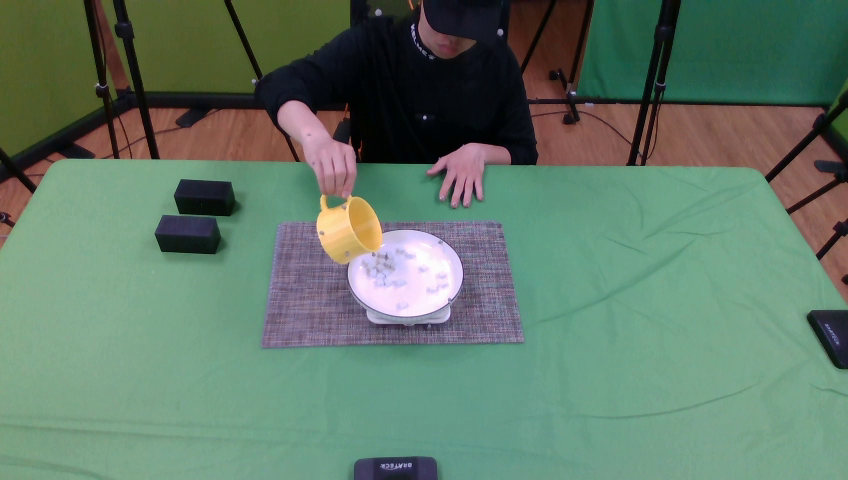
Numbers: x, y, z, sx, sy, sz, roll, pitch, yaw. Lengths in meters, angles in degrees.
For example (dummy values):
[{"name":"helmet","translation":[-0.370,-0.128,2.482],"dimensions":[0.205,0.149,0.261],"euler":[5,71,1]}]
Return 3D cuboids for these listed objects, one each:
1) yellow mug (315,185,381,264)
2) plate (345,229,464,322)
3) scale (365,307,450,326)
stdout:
[{"name":"yellow mug","translation":[-0.133,-0.031,1.017],"dimensions":[0.064,0.131,0.100],"euler":[-22,10,23]},{"name":"plate","translation":[-0.034,0.065,1.073],"dimensions":[0.209,0.038,0.208],"euler":[2,46,-2]},{"name":"scale","translation":[-0.032,0.071,1.113],"dimensions":[0.149,0.032,0.199],"euler":[0,46,-4]}]
